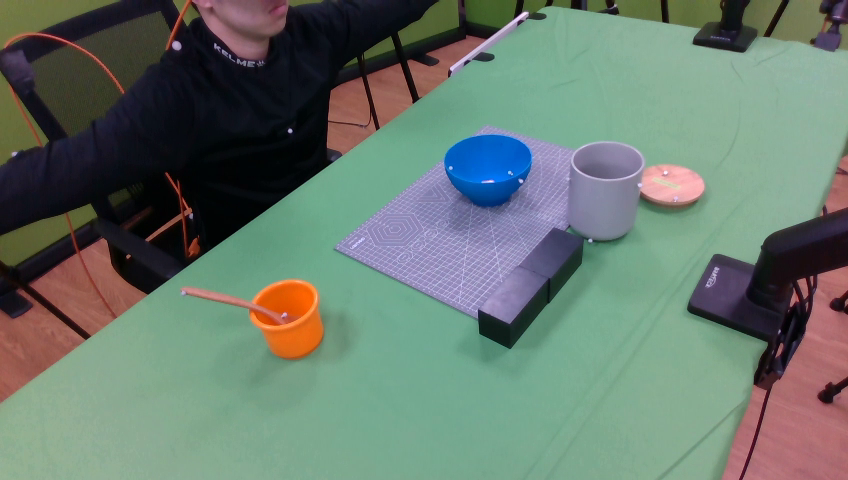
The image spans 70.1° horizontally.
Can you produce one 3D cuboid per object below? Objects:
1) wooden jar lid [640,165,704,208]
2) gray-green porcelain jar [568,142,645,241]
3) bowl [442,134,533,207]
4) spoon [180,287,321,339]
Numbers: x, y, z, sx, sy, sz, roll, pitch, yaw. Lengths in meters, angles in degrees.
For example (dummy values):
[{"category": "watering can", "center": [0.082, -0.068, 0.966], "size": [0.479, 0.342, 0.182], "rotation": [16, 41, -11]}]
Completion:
[{"category": "wooden jar lid", "center": [0.410, -0.088, 1.015], "size": [0.108, 0.021, 0.108], "rotation": [-5, 41, 5]}, {"category": "gray-green porcelain jar", "center": [0.276, -0.070, 0.931], "size": [0.106, 0.127, 0.105], "rotation": [-4, 41, 4]}, {"category": "bowl", "center": [0.110, -0.109, 1.033], "size": [0.151, 0.077, 0.150], "rotation": [-4, 41, 4]}, {"category": "spoon", "center": [-0.223, 0.093, 0.796], "size": [0.021, 0.195, 0.041], "rotation": [-47, 36, 23]}]
